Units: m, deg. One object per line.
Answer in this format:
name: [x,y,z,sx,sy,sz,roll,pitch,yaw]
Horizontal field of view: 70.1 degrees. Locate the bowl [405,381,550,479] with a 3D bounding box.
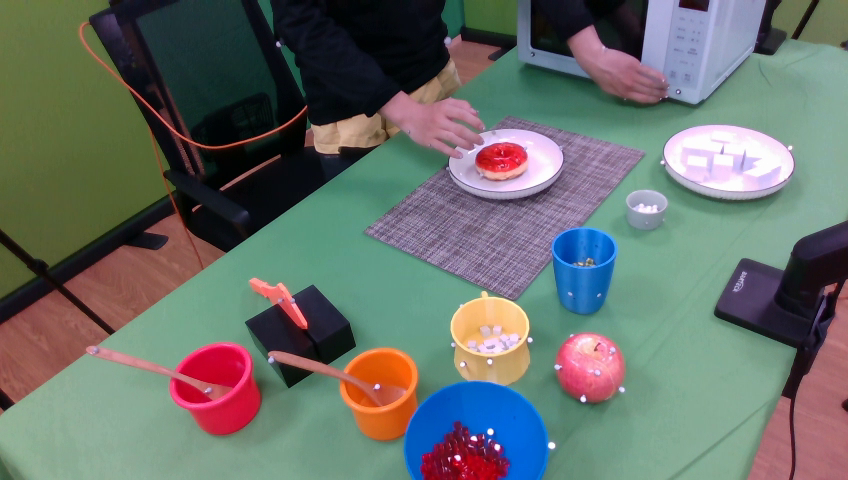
bowl: [0.058,0.235,0.646,0.151,0.077,0.150,-4,39,4]

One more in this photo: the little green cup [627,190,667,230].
little green cup: [0.352,-0.046,0.963,0.061,0.039,0.061,-4,40,4]

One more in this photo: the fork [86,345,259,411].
fork: [-0.298,0.166,0.728,0.209,0.018,0.028,28,46,-23]

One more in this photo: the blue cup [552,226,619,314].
blue cup: [0.219,0.046,0.826,0.092,0.101,0.092,-6,40,5]

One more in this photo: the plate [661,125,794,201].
plate: [0.514,-0.128,1.036,0.207,0.039,0.206,-4,40,4]

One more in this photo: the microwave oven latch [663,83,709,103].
microwave oven latch: [0.520,-0.297,1.205,0.030,0.029,0.078,-35,46,-27]

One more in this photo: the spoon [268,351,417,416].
spoon: [-0.090,0.162,0.699,0.021,0.195,0.041,-45,30,27]

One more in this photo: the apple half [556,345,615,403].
apple half: [0.182,0.166,0.710,0.080,0.081,0.033,29,49,35]

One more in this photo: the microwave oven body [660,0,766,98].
microwave oven body: [0.473,-0.514,1.317,0.438,0.261,0.327,26,51,34]

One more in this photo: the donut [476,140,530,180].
donut: [0.142,-0.145,1.089,0.099,0.048,0.098,-6,38,5]

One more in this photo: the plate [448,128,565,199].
plate: [0.148,-0.134,1.092,0.209,0.038,0.208,-4,40,4]

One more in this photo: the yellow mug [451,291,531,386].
yellow mug: [0.086,0.119,0.787,0.100,0.064,0.130,-7,39,1]

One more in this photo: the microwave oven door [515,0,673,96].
microwave oven door: [0.344,-0.455,1.259,0.353,0.245,0.039,26,51,33]

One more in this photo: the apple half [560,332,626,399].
apple half: [0.209,0.147,0.731,0.080,0.075,0.053,26,48,38]

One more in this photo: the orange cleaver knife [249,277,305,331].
orange cleaver knife: [-0.210,0.088,0.856,0.012,0.077,0.210,-28,15,-25]
